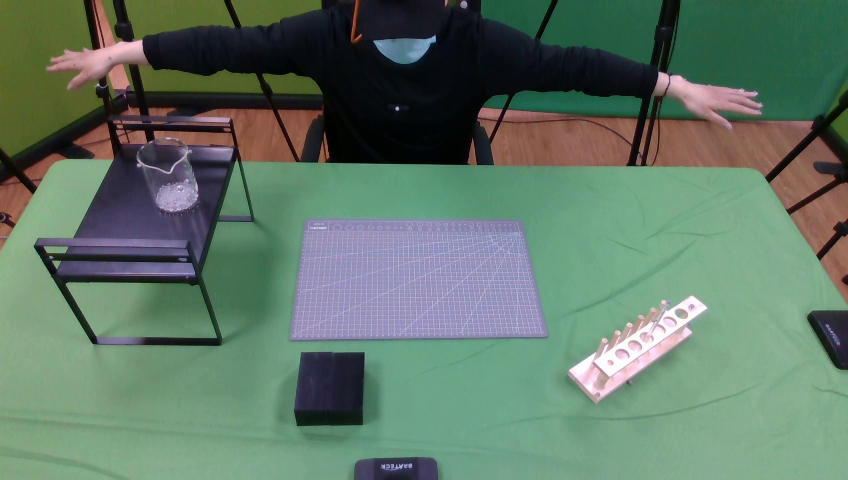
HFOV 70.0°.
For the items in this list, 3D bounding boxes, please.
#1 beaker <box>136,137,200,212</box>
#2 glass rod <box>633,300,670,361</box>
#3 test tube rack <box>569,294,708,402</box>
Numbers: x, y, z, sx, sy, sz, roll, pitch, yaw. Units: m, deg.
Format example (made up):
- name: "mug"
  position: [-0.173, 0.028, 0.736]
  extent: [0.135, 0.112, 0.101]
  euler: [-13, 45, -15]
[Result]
- name: "beaker"
  position: [-0.399, -0.098, 0.957]
  extent: [0.074, 0.101, 0.083]
  euler: [-19, 51, -20]
- name: "glass rod"
  position: [0.351, 0.144, 0.944]
  extent: [0.008, 0.201, 0.008]
  euler: [-1, 55, 1]
- name: "test tube rack"
  position: [0.360, 0.167, 1.014]
  extent: [0.242, 0.085, 0.066]
  euler: [-25, 53, -25]
